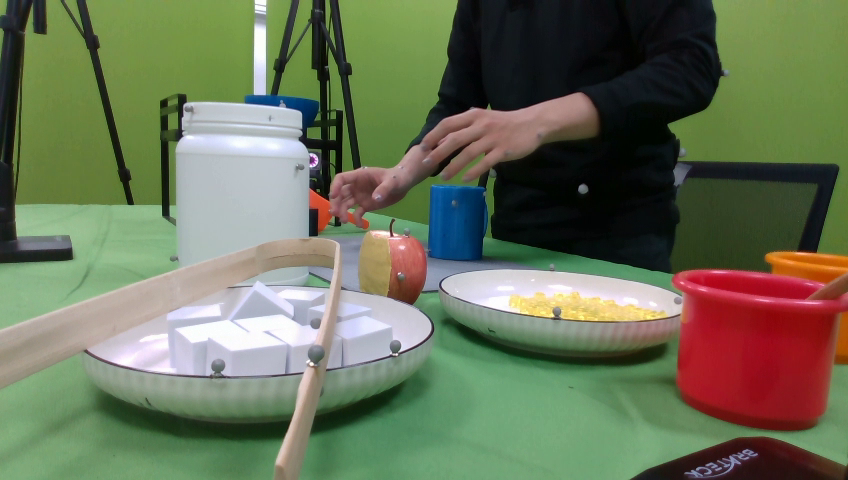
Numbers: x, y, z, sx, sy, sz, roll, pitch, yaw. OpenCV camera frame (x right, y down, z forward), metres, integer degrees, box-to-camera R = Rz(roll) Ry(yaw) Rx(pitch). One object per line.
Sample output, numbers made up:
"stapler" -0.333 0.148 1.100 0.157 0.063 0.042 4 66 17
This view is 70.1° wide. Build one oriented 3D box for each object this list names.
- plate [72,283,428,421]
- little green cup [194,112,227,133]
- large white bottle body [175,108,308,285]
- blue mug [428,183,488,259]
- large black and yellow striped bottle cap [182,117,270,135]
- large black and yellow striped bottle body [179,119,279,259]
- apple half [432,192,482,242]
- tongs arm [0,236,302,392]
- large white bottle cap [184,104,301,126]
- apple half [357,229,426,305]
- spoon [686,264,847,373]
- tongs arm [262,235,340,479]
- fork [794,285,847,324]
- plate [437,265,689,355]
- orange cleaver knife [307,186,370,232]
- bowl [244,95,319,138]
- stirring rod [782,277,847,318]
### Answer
"plate" -0.102 0.066 0.381 0.208 0.039 0.207 2 7 0
"little green cup" -0.412 -0.228 1.171 0.061 0.038 0.061 2 8 0
"large white bottle body" -0.188 -0.042 0.630 0.131 0.184 0.130 2 8 0
"blue mug" 0.059 -0.031 0.907 0.082 0.106 0.117 9 10 42
"large black and yellow striped bottle cap" -0.272 -0.156 0.833 0.115 0.019 0.115 1 7 0
"large black and yellow striped bottle body" -0.271 -0.074 0.846 0.131 0.184 0.130 0 9 0
"apple half" 0.048 -0.037 0.905 0.081 0.081 0.033 2 16 -2
"tongs arm" -0.157 0.037 0.351 0.028 0.028 0.388 -3 8 11
"large white bottle cap" -0.184 -0.126 0.618 0.115 0.018 0.115 2 8 0
"apple half" -0.026 0.028 0.570 0.053 0.074 0.080 3 2 -28
"spoon" 0.214 0.032 0.328 0.042 0.021 0.193 -2 -35 -25
"tongs arm" -0.074 0.039 0.349 0.051 0.026 0.384 -1 9 -3
"fork" 0.332 0.018 0.442 0.028 0.018 0.207 -1 -36 -16
"plate" 0.114 0.057 0.517 0.209 0.038 0.209 3 8 0
"orange cleaver knife" -0.197 -0.056 1.140 0.212 0.077 0.012 29 0 -34
"bowl" -0.293 -0.251 1.249 0.151 0.077 0.151 2 8 0
"stirring rod" 0.344 0.019 0.461 0.014 0.006 0.176 -13 -27 -30
